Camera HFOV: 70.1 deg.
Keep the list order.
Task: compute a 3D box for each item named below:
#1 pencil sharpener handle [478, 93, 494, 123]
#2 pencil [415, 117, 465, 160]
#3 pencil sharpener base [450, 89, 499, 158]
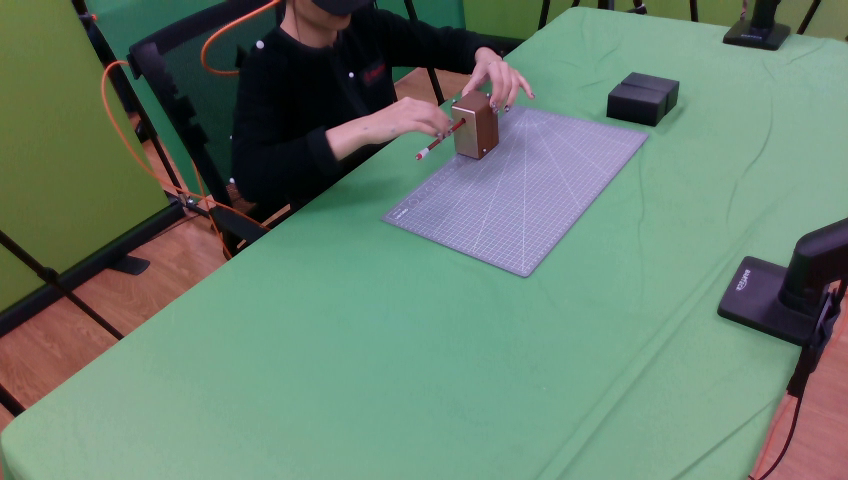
[{"bbox_3d":[0.127,-0.262,1.176,0.036,0.068,0.031,31,53,23],"label":"pencil sharpener handle"},{"bbox_3d":[0.046,-0.197,1.093,0.012,0.012,0.194,23,50,33],"label":"pencil"},{"bbox_3d":[0.100,-0.222,1.154,0.061,0.107,0.077,22,49,33],"label":"pencil sharpener base"}]
